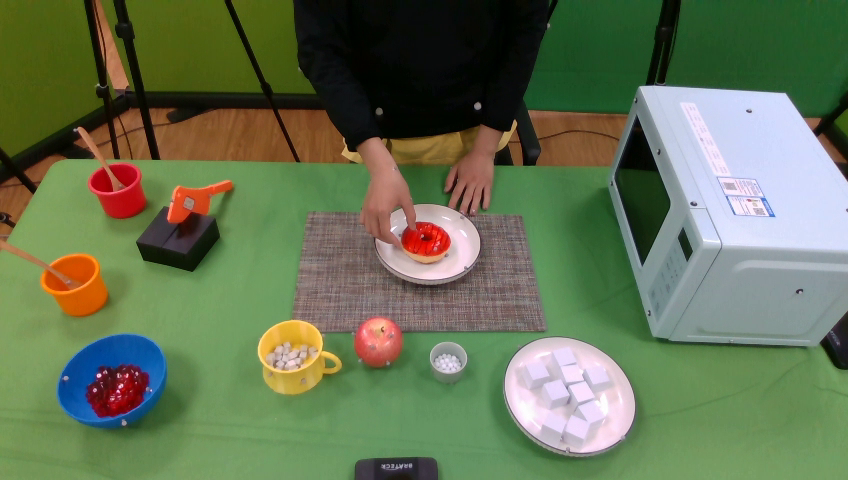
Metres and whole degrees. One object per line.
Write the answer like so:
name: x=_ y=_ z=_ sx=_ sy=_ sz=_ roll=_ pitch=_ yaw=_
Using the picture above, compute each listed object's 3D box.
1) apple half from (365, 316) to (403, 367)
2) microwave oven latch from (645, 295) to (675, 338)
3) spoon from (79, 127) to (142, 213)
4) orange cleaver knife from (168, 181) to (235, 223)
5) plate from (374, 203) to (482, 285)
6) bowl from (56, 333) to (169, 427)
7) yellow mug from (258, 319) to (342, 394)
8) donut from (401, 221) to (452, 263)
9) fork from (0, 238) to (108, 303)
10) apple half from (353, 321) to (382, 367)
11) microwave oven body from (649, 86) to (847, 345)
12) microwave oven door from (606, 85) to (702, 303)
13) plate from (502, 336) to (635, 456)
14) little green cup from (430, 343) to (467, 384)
apple half: x=-0.063 y=0.165 z=1.000 sx=0.053 sy=0.075 sz=0.080 roll=-16 pitch=45 yaw=-24
microwave oven latch: x=0.411 y=0.134 z=1.061 sx=0.030 sy=0.029 sz=0.078 roll=3 pitch=45 yaw=0
spoon: x=-0.625 y=-0.139 z=1.203 sx=0.041 sy=0.021 sz=0.194 roll=-33 pitch=100 yaw=-26
orange cleaver knife: x=-0.436 y=-0.078 z=1.196 sx=0.012 sy=0.077 sz=0.211 roll=16 pitch=15 yaw=10
plate: x=0.007 y=0.011 z=1.172 sx=0.209 sy=0.038 sz=0.208 roll=2 pitch=46 yaw=-2
bowl: x=-0.456 y=0.223 z=0.911 sx=0.151 sy=0.077 sz=0.150 roll=3 pitch=46 yaw=-2
yellow mug: x=-0.195 y=0.188 z=0.972 sx=0.131 sy=0.064 sz=0.099 roll=9 pitch=46 yaw=4
donut: x=0.005 y=0.003 z=1.164 sx=0.099 sy=0.048 sz=0.098 roll=2 pitch=44 yaw=-2
fork: x=-0.633 y=0.048 z=1.017 sx=0.208 sy=0.018 sz=0.028 roll=40 pitch=41 yaw=-27
apple half: x=-0.098 y=0.177 z=0.984 sx=0.033 sy=0.081 sz=0.081 roll=-17 pitch=49 yaw=-25
microwave oven body: x=0.567 y=-0.053 z=1.118 sx=0.326 sy=0.261 sz=0.439 roll=2 pitch=45 yaw=-1
microwave oven door: x=0.423 y=-0.094 z=1.140 sx=0.039 sy=0.245 sz=0.353 roll=2 pitch=46 yaw=-1
plate: x=0.225 y=0.248 z=0.963 sx=0.208 sy=0.039 sz=0.206 roll=2 pitch=46 yaw=-2
little green cup: x=0.039 y=0.203 z=0.994 sx=0.061 sy=0.039 sz=0.061 roll=2 pitch=46 yaw=-2
